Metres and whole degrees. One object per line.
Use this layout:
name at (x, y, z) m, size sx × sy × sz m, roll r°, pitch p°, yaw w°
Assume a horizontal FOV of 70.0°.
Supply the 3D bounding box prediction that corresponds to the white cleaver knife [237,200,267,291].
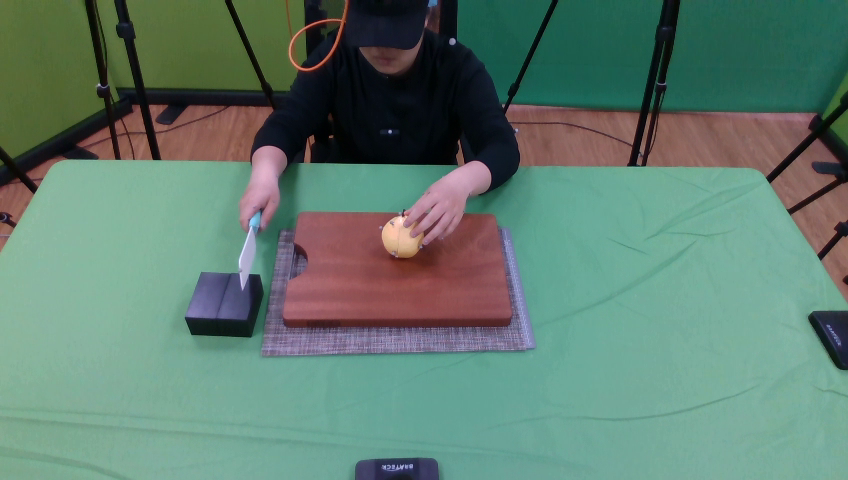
white cleaver knife at (-0.318, 0.002, 1.112) m, size 0.021 × 0.066 × 0.285 m, roll 2°, pitch 26°, yaw -6°

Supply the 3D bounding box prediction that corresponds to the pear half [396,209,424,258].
pear half at (-0.027, -0.018, 1.114) m, size 0.056 × 0.110 × 0.076 m, roll -6°, pitch 51°, yaw -9°

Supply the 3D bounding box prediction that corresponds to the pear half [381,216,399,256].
pear half at (-0.062, -0.009, 1.116) m, size 0.031 × 0.088 × 0.070 m, roll -6°, pitch 55°, yaw -10°
